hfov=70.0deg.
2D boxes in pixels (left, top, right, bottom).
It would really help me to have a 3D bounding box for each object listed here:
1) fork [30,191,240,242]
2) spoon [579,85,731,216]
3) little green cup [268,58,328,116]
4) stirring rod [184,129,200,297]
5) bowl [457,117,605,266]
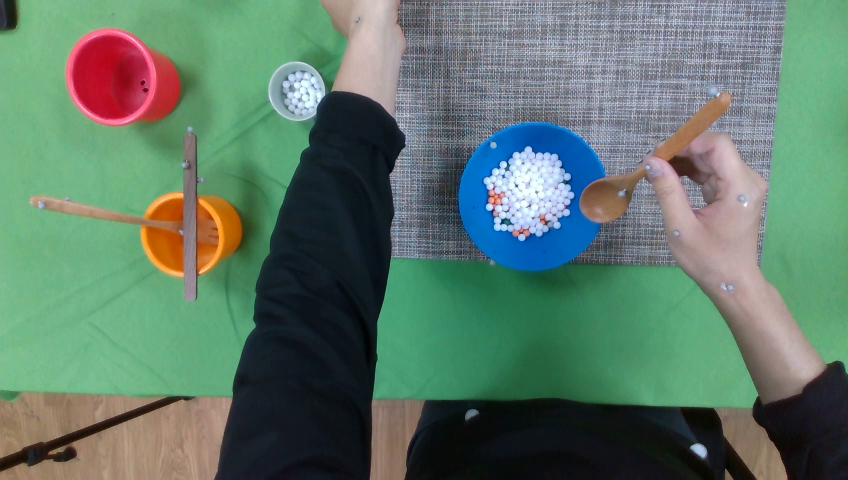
[{"bbox_3d":[-0.295,-0.025,0.641,0.209,0.018,0.028,12,105,-42],"label":"fork"},{"bbox_3d":[0.178,-0.064,0.483,0.041,0.194,0.021,42,70,3],"label":"spoon"},{"bbox_3d":[-0.135,-0.165,0.663,0.061,0.038,0.061,1,99,4],"label":"little green cup"},{"bbox_3d":[-0.243,-0.026,0.634,0.014,0.006,0.176,3,99,6],"label":"stirring rod"},{"bbox_3d":[0.111,-0.053,0.642,0.151,0.076,0.152,1,100,4],"label":"bowl"}]
